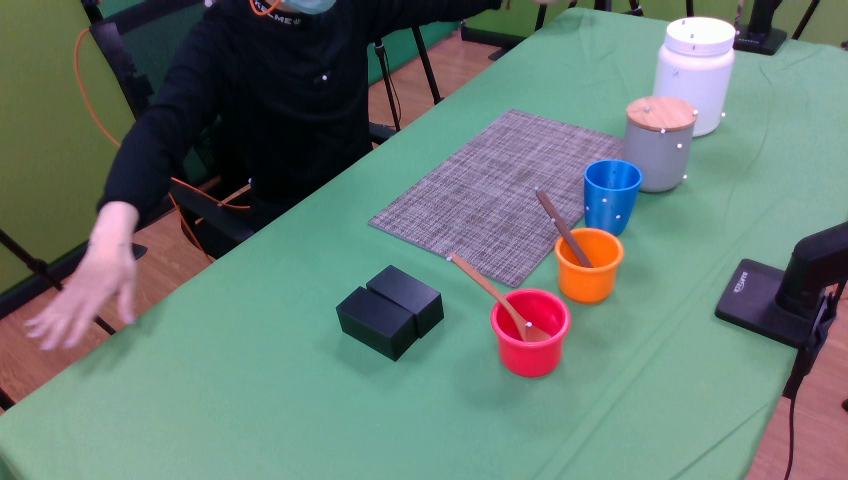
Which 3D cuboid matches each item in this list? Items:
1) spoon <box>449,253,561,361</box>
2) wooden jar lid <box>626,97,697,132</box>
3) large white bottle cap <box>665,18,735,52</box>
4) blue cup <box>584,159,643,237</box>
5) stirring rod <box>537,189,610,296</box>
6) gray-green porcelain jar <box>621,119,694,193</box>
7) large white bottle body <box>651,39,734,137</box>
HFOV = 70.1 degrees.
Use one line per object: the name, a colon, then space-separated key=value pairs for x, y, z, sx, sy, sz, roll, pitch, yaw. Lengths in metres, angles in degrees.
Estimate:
spoon: x=0.103 y=0.083 z=0.770 sx=0.194 sy=0.021 sz=0.042 roll=47 pitch=51 yaw=-7
wooden jar lid: x=0.381 y=-0.198 z=0.976 sx=0.108 sy=0.021 sz=0.108 roll=-2 pitch=40 yaw=3
large white bottle cap: x=0.488 y=-0.364 z=1.071 sx=0.115 sy=0.018 sz=0.114 roll=-4 pitch=41 yaw=4
blue cup: x=0.289 y=-0.061 z=0.944 sx=0.092 sy=0.100 sz=0.092 roll=-3 pitch=40 yaw=3
stirring rod: x=0.211 y=0.003 z=0.855 sx=0.014 sy=0.006 sz=0.176 roll=-32 pitch=88 yaw=-30
gray-green porcelain jar: x=0.389 y=-0.152 z=1.016 sx=0.106 sy=0.127 sz=0.105 roll=-4 pitch=40 yaw=4
large white bottle body: x=0.496 y=-0.300 z=1.126 sx=0.130 sy=0.185 sz=0.130 roll=-4 pitch=41 yaw=4
